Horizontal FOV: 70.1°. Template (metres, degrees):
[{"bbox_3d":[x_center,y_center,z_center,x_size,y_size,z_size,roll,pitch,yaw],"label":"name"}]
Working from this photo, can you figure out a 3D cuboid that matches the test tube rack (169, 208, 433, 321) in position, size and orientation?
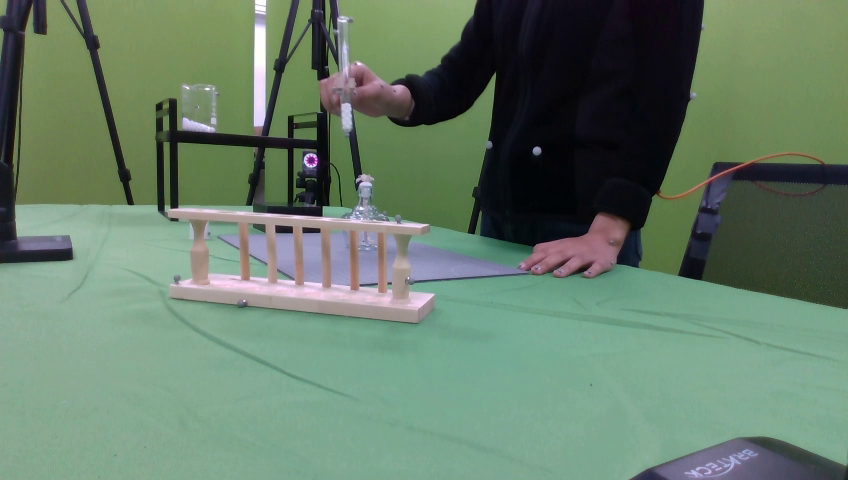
[{"bbox_3d":[-0.115,0.017,0.574,0.242,0.085,0.067,4,8,13],"label":"test tube rack"}]

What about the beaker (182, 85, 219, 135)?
[{"bbox_3d":[-0.479,-0.276,1.291,0.074,0.100,0.084,2,8,-1],"label":"beaker"}]

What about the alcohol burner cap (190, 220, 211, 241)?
[{"bbox_3d":[-0.365,-0.023,0.988,0.034,0.048,0.034,1,7,0],"label":"alcohol burner cap"}]

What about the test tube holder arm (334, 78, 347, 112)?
[{"bbox_3d":[-0.118,-0.205,0.862,0.013,0.015,0.178,0,2,-6],"label":"test tube holder arm"}]

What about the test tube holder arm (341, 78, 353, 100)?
[{"bbox_3d":[-0.106,-0.203,0.818,0.010,0.015,0.087,-1,2,-13],"label":"test tube holder arm"}]

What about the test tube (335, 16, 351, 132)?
[{"bbox_3d":[-0.107,-0.218,0.795,0.017,0.150,0.017,-2,1,0],"label":"test tube"}]

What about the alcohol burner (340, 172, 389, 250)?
[{"bbox_3d":[-0.093,-0.045,0.939,0.078,0.119,0.078,0,7,0],"label":"alcohol burner"}]
